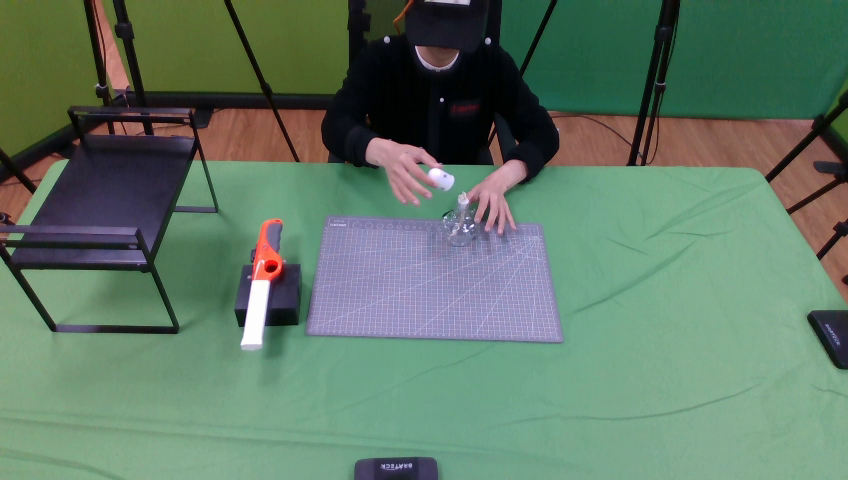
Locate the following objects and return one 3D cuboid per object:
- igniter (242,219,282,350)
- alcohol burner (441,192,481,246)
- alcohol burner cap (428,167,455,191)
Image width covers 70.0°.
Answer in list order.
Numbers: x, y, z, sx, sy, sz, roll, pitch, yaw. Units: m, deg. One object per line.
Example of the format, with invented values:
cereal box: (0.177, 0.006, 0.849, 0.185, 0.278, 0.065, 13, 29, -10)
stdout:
igniter: (-0.277, 0.065, 1.043, 0.057, 0.025, 0.274, 1, 48, -6)
alcohol burner: (0.074, -0.046, 1.176, 0.078, 0.119, 0.077, 2, 44, -2)
alcohol burner cap: (0.028, -0.110, 1.071, 0.048, 0.034, 0.033, 26, 34, -36)
